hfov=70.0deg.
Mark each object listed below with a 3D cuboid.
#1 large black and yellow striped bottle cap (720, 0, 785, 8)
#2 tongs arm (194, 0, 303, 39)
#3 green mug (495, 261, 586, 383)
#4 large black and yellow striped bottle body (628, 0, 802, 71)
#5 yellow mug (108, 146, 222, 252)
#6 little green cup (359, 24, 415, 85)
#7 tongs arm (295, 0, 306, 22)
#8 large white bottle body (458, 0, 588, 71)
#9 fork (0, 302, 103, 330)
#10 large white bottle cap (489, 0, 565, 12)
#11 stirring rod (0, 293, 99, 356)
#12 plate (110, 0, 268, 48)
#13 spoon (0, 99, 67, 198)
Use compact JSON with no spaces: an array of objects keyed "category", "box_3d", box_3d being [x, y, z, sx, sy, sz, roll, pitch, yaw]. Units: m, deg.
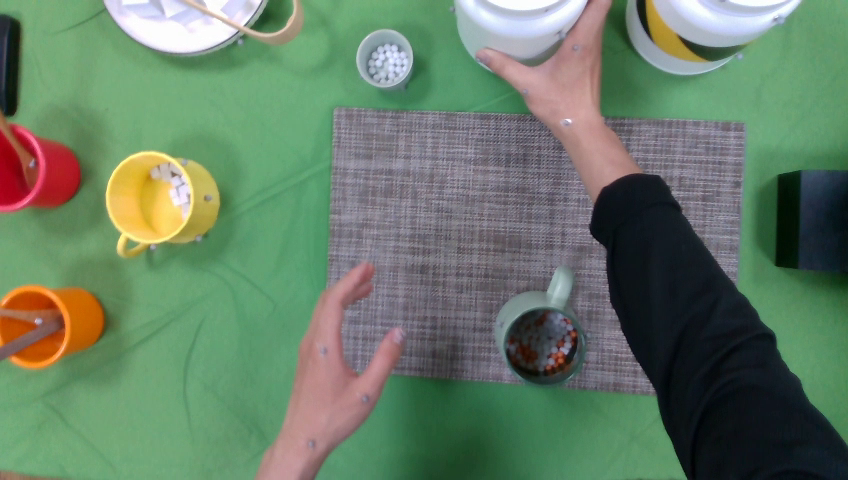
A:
[{"category":"large black and yellow striped bottle cap","box_3d":[0.266,-0.245,0.481,0.115,0.019,0.115,0,92,4]},{"category":"tongs arm","box_3d":[-0.304,-0.315,0.655,0.384,0.026,0.051,32,91,5]},{"category":"green mug","box_3d":[0.125,0.081,0.624,0.092,0.105,0.125,20,93,5]},{"category":"large black and yellow striped bottle body","box_3d":[0.276,-0.244,0.564,0.130,0.184,0.130,0,91,6]},{"category":"yellow mug","box_3d":[-0.298,-0.039,0.681,0.100,0.064,0.131,36,95,3]},{"category":"little green cup","box_3d":[-0.038,-0.201,0.667,0.061,0.038,0.061,0,93,5]},{"category":"tongs arm","box_3d":[-0.254,-0.382,0.651,0.028,0.028,0.387,-43,86,-1]},{"category":"large white bottle body","box_3d":[0.095,-0.249,0.579,0.130,0.185,0.130,0,91,6]},{"category":"fork","box_3d":[-0.463,0.070,0.657,0.209,0.018,0.028,19,90,-39]},{"category":"large white bottle cap","box_3d":[0.086,-0.247,0.496,0.115,0.018,0.115,0,92,5]},{"category":"stirring rod","box_3d":[-0.443,0.108,0.662,0.176,0.006,0.014,-35,89,-37]},{"category":"plate","box_3d":[-0.260,-0.319,0.683,0.207,0.039,0.207,0,92,5]},{"category":"spoon","box_3d":[-0.442,-0.124,0.651,0.041,0.021,0.195,-1,136,4]}]
